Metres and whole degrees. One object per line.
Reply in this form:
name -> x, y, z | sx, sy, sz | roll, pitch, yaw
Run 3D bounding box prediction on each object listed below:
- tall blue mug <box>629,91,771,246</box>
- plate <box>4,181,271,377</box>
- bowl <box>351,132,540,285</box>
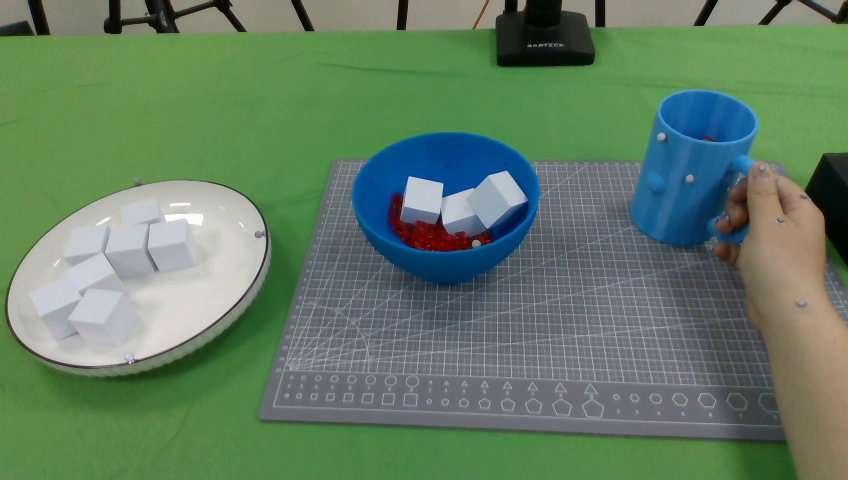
tall blue mug -> 0.236, -0.053, 0.508 | 0.106, 0.109, 0.077 | 25, 51, 25
plate -> -0.231, 0.029, 0.510 | 0.209, 0.038, 0.207 | -1, 46, 2
bowl -> 0.018, -0.015, 0.506 | 0.151, 0.077, 0.150 | -2, 45, 2
